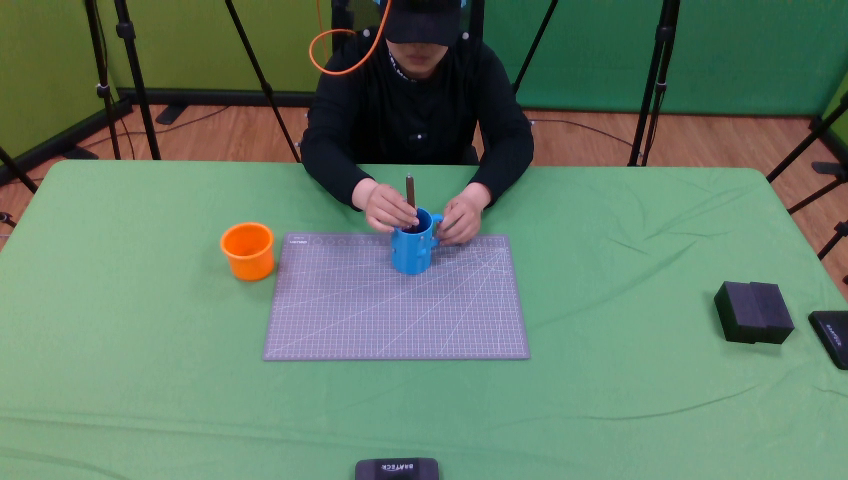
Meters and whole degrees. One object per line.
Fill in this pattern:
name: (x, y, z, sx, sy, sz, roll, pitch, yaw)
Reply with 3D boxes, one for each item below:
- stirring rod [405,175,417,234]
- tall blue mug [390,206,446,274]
stirring rod: (-0.022, -0.041, 1.075, 0.014, 0.177, 0.006, 10, 42, 15)
tall blue mug: (-0.016, -0.008, 1.142, 0.077, 0.108, 0.107, 24, 49, 19)
